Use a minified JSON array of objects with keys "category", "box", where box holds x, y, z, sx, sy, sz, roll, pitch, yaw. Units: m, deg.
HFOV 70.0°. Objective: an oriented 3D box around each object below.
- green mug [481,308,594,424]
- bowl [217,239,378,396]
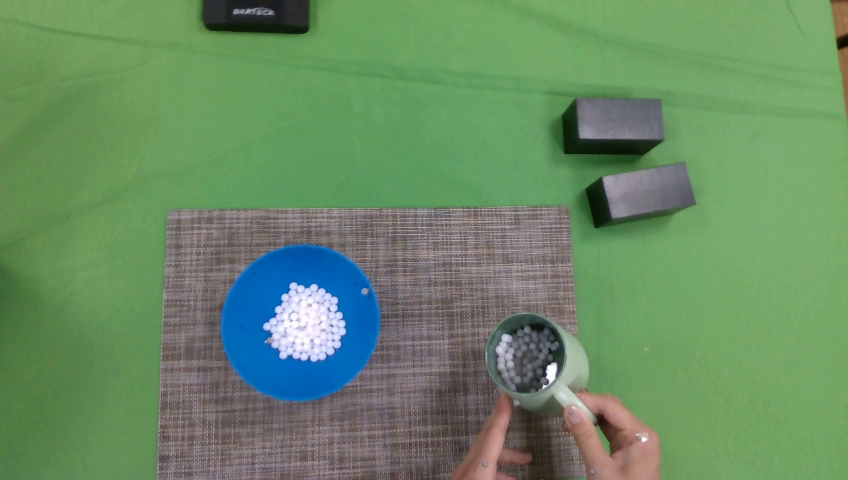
[{"category":"green mug","box":[0.119,0.129,0.598,0.092,0.106,0.124,-44,61,1]},{"category":"bowl","box":[-0.124,0.080,0.616,0.151,0.077,0.151,1,80,-6]}]
